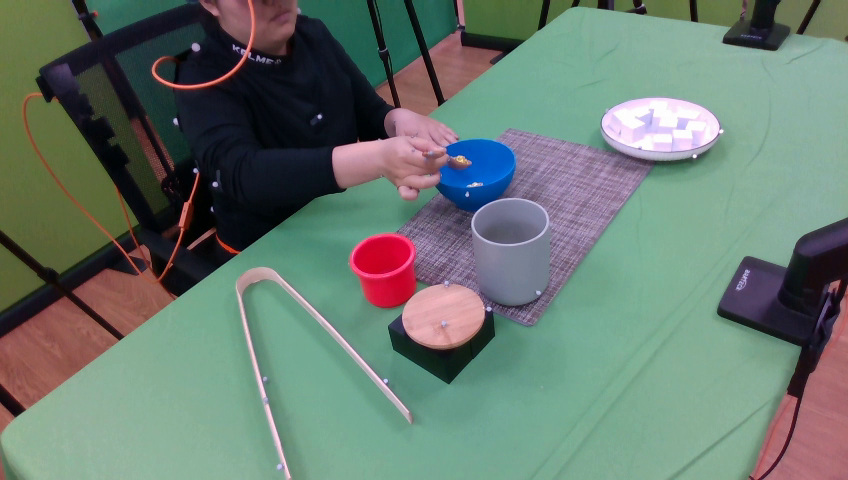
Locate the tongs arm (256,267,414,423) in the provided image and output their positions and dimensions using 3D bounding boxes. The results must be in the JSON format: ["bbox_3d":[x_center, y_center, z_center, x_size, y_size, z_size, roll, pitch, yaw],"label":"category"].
[{"bbox_3d":[-0.137,0.132,0.853,0.028,0.028,0.384,-34,45,-23],"label":"tongs arm"}]

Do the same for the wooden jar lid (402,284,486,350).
[{"bbox_3d":[0.026,0.101,0.786,0.108,0.021,0.108,-5,39,4],"label":"wooden jar lid"}]

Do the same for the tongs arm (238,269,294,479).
[{"bbox_3d":[-0.208,0.163,0.824,0.051,0.026,0.381,-22,40,-15],"label":"tongs arm"}]

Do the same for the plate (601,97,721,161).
[{"bbox_3d":[0.436,-0.203,1.126,0.209,0.038,0.208,-5,39,5],"label":"plate"}]

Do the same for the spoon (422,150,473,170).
[{"bbox_3d":[0.034,-0.126,0.933,0.041,0.021,0.195,6,1,21],"label":"spoon"}]

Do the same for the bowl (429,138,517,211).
[{"bbox_3d":[0.087,-0.104,1.043,0.151,0.077,0.150,-5,40,5],"label":"bowl"}]

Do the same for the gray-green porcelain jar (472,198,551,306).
[{"bbox_3d":[0.125,0.021,0.850,0.106,0.127,0.105,-6,40,5],"label":"gray-green porcelain jar"}]
